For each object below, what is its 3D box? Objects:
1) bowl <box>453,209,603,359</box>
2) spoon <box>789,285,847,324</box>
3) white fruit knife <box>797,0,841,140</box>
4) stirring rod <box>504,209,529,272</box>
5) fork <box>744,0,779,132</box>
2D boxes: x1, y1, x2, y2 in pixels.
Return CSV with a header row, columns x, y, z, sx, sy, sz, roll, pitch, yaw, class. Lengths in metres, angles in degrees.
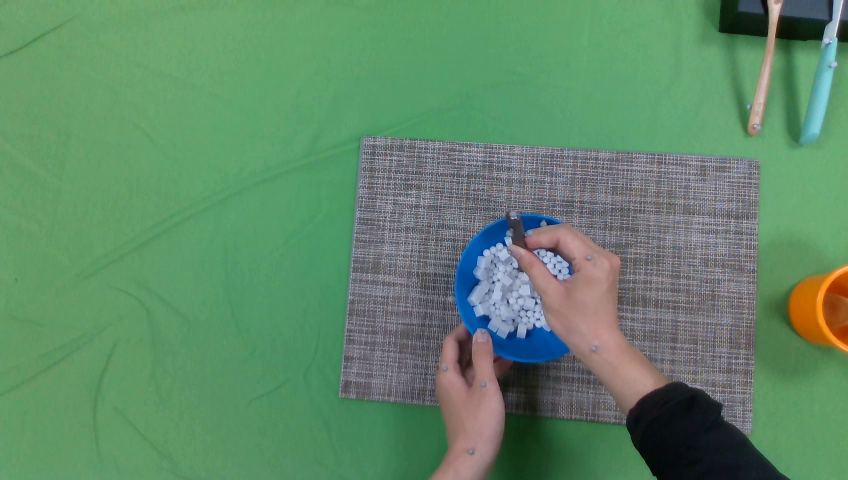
x,y,z,sx,sy,sz,roll,pitch,yaw,class
0.105,0.047,0.641,0.151,0.077,0.151,0,84,3,bowl
0.466,0.069,0.591,0.022,0.192,0.041,10,84,-41,spoon
0.431,-0.212,0.649,0.016,0.027,0.208,5,101,1,white fruit knife
0.089,0.005,0.573,0.014,0.177,0.006,19,77,18,stirring rod
0.369,-0.221,0.654,0.028,0.018,0.208,2,104,0,fork
